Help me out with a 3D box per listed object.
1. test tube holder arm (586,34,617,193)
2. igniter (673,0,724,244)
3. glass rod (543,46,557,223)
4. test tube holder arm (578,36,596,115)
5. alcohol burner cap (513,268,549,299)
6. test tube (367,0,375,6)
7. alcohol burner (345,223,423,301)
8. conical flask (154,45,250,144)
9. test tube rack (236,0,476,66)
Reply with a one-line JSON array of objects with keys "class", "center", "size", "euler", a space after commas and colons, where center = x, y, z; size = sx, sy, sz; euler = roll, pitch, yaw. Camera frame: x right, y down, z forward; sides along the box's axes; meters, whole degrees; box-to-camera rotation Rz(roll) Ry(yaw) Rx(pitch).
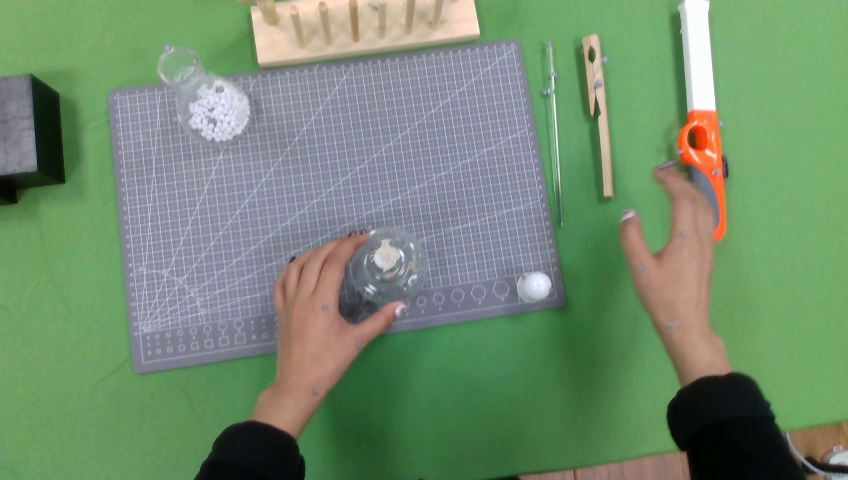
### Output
[{"class": "test tube holder arm", "center": [0.194, -0.139, 0.666], "size": [0.013, 0.015, 0.178], "euler": [-12, 82, 32]}, {"class": "igniter", "center": [0.300, -0.133, 0.668], "size": [0.057, 0.025, 0.275], "euler": [1, 83, -13]}, {"class": "glass rod", "center": [0.139, -0.117, 0.667], "size": [0.008, 0.008, 0.199], "euler": [-2, 85, -4]}, {"class": "test tube holder arm", "center": [0.183, -0.182, 0.674], "size": [0.010, 0.015, 0.087], "euler": [-10, 83, 33]}, {"class": "alcohol burner cap", "center": [0.113, 0.043, 0.626], "size": [0.034, 0.048, 0.033], "euler": [0, 82, -3]}, {"class": "test tube", "center": [-0.048, -0.274, 0.588], "size": [0.017, 0.150, 0.017], "euler": [1, 79, -5]}, {"class": "alcohol burner", "center": [-0.039, 0.020, 0.585], "size": [0.078, 0.119, 0.077], "euler": [0, 82, -1]}, {"class": "conical flask", "center": [-0.220, -0.145, 0.591], "size": [0.075, 0.122, 0.075], "euler": [0, 82, -3]}, {"class": "test tube rack", "center": [-0.065, -0.246, 0.634], "size": [0.242, 0.085, 0.066], "euler": [-9, 83, -4]}]
